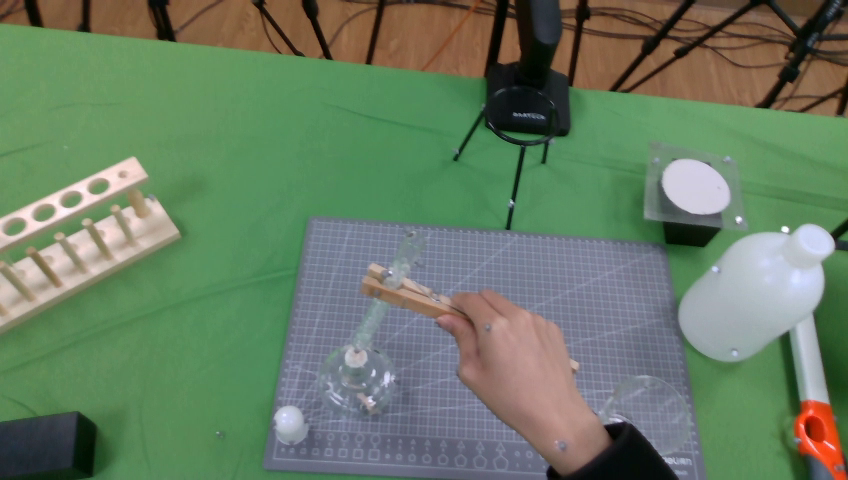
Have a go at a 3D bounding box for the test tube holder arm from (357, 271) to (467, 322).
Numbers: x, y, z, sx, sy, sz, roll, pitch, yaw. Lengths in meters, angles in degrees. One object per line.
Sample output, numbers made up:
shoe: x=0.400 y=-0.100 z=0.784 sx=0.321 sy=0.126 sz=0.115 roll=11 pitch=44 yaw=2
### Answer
test tube holder arm: x=-0.009 y=0.044 z=0.468 sx=0.088 sy=0.015 sz=0.010 roll=18 pitch=46 yaw=-3

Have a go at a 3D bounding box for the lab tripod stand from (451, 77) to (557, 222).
lab tripod stand: x=0.105 y=-0.117 z=0.745 sx=0.148 sy=0.132 sz=0.147 roll=3 pitch=60 yaw=-5

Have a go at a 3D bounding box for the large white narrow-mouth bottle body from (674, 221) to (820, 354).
large white narrow-mouth bottle body: x=0.348 y=0.042 z=0.638 sx=0.102 sy=0.196 sz=0.101 roll=2 pitch=59 yaw=-3

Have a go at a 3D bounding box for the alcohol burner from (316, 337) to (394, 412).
alcohol burner: x=-0.067 y=0.126 z=0.593 sx=0.078 sy=0.120 sz=0.077 roll=4 pitch=58 yaw=-5

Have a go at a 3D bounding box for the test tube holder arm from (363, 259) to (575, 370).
test tube holder arm: x=0.034 y=0.057 z=0.471 sx=0.178 sy=0.015 sz=0.013 roll=24 pitch=46 yaw=3

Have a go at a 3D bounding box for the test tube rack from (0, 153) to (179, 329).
test tube rack: x=-0.401 y=0.008 z=0.649 sx=0.242 sy=0.086 sz=0.066 roll=-33 pitch=68 yaw=-22

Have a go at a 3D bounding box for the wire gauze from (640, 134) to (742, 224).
wire gauze: x=0.332 y=-0.077 z=0.758 sx=0.121 sy=0.011 sz=0.124 roll=11 pitch=59 yaw=1

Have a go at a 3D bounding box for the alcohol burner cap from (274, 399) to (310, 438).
alcohol burner cap: x=-0.132 y=0.175 z=0.599 sx=0.034 sy=0.048 sz=0.033 roll=2 pitch=60 yaw=-3

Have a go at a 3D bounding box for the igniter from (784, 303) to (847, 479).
igniter: x=0.425 y=0.180 z=0.662 sx=0.057 sy=0.025 sz=0.274 roll=16 pitch=58 yaw=-8

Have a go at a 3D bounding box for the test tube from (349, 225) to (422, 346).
test tube: x=-0.034 y=0.042 z=0.482 sx=0.017 sy=0.151 sz=0.017 roll=14 pitch=46 yaw=-15

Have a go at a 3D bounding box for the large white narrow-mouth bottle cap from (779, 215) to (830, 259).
large white narrow-mouth bottle cap: x=0.354 y=-0.003 z=0.565 sx=0.038 sy=0.024 sz=0.037 roll=2 pitch=59 yaw=-3

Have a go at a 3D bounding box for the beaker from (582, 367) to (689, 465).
beaker: x=0.200 y=0.177 z=0.597 sx=0.084 sy=0.101 sz=0.073 roll=1 pitch=59 yaw=-3

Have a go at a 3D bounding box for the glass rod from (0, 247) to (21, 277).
glass rod: x=-0.434 y=-0.023 z=0.587 sx=0.008 sy=0.201 sz=0.008 roll=4 pitch=50 yaw=-4
